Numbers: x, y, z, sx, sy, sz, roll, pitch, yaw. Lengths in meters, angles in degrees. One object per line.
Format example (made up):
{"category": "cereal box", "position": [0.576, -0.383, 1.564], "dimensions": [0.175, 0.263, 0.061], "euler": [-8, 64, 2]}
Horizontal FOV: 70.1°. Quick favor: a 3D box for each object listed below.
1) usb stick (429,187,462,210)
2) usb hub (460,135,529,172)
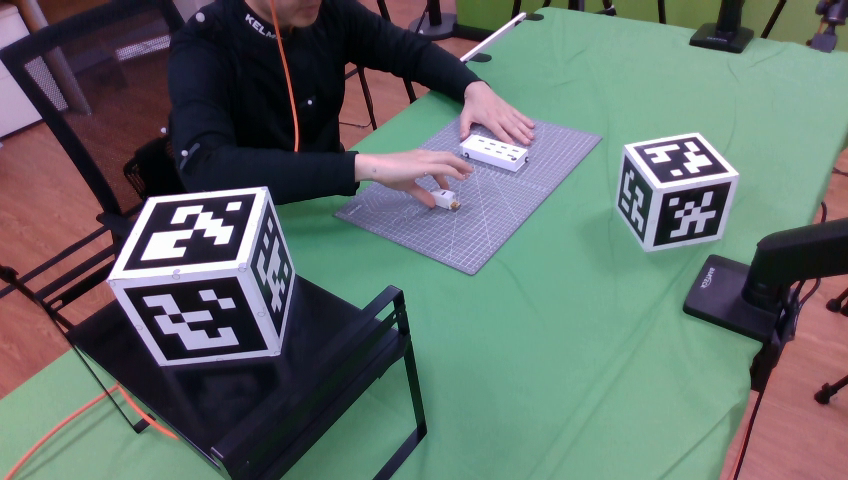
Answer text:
{"category": "usb stick", "position": [0.039, -0.069, 1.038], "dimensions": [0.059, 0.027, 0.021], "euler": [24, 48, 30]}
{"category": "usb hub", "position": [0.132, -0.164, 1.138], "dimensions": [0.124, 0.025, 0.049], "euler": [22, 48, 30]}
